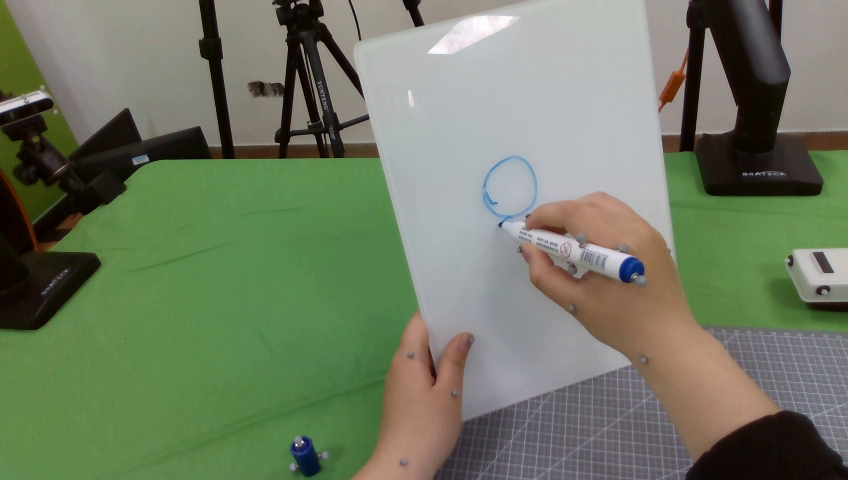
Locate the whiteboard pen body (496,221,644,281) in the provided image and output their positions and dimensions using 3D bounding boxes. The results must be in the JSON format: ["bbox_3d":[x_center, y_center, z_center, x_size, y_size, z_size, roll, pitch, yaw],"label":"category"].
[{"bbox_3d":[0.087,0.003,0.395,0.017,0.017,0.139,-26,23,-20],"label":"whiteboard pen body"}]

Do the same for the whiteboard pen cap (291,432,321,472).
[{"bbox_3d":[-0.092,0.166,0.473,0.018,0.033,0.018,-5,38,5],"label":"whiteboard pen cap"}]

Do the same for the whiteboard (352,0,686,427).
[{"bbox_3d":[0.076,-0.036,0.525,0.217,0.307,0.143,-16,17,-7],"label":"whiteboard"}]

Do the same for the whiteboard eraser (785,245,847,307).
[{"bbox_3d":[0.387,0.032,0.533,0.112,0.042,0.055,0,40,12],"label":"whiteboard eraser"}]
